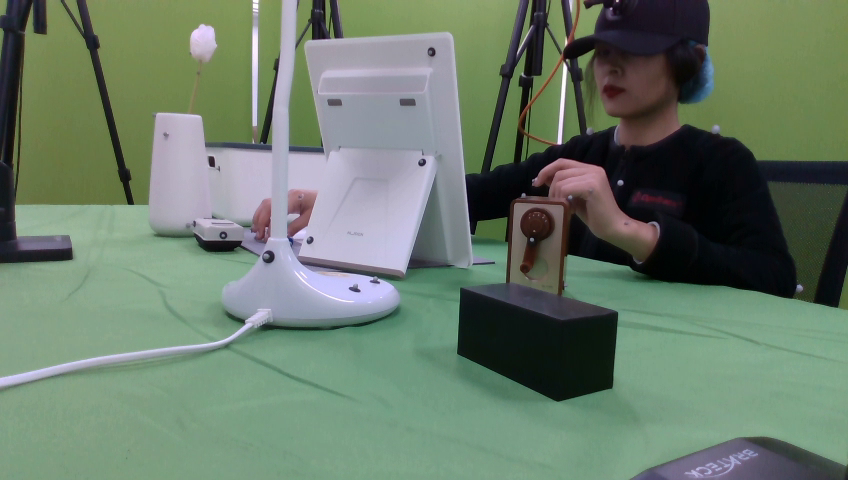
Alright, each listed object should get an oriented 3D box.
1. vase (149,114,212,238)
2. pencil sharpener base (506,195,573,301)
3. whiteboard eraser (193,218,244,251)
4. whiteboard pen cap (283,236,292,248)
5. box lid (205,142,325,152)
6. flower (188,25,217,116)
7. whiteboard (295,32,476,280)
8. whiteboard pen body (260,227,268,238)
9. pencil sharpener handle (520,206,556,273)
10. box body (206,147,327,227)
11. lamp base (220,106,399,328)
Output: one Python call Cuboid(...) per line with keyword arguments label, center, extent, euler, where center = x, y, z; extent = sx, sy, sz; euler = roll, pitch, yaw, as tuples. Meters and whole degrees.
Cuboid(label="vase", center=(-0.405, -0.106, 1.005), extent=(0.098, 0.200, 0.098), euler=(2, 6, 0))
Cuboid(label="pencil sharpener base", center=(0.127, 0.007, 0.662), extent=(0.061, 0.107, 0.077), euler=(5, 8, 15))
Cuboid(label="whiteboard eraser", center=(-0.307, -0.009, 0.900), extent=(0.056, 0.042, 0.112), euler=(-3, 10, -29))
Cuboid(label="whiteboard pen cap", center=(-0.211, 0.003, 0.913), extent=(0.018, 0.018, 0.033), euler=(-1, 6, -27))
Cuboid(label="box lid", center=(-0.270, -0.196, 1.310), extent=(0.373, 0.015, 0.262), euler=(-2, 9, -30))
Cuboid(label="flower", center=(-0.394, -0.189, 1.011), extent=(0.044, 0.361, 0.038), euler=(-1, -13, 27))
Cuboid(label="whiteboard", center=(-0.076, -0.084, 0.747), extent=(0.216, 0.305, 0.144), euler=(7, 28, 29))
Cuboid(label="whiteboard pen body", center=(-0.239, -0.005, 0.964), extent=(0.017, 0.017, 0.140), euler=(-2, 8, -28))
Cuboid(label="pencil sharpener handle", center=(0.111, 0.000, 0.612), extent=(0.036, 0.067, 0.031), euler=(13, 10, 14))
Cuboid(label="box body", center=(-0.276, -0.122, 1.320), extent=(0.366, 0.160, 0.253), euler=(-2, 9, -30))
Cuboid(label="lamp base", center=(-0.102, -0.023, 0.531), extent=(0.160, 0.180, 0.179), euler=(4, 10, 10))
